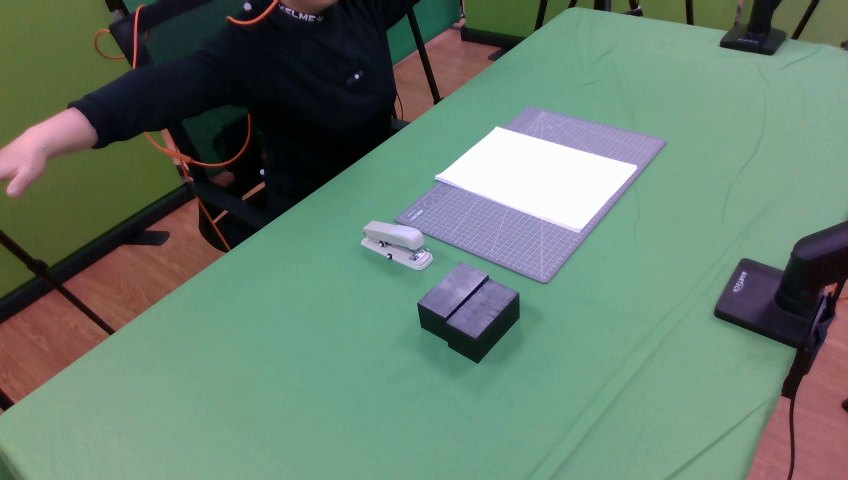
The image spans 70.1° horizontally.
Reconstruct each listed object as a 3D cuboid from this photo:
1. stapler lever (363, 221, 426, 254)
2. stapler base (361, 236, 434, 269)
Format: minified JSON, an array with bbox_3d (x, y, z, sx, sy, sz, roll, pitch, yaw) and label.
[{"bbox_3d":[-0.048,-0.011,0.958,0.117,0.040,0.027,21,46,32],"label":"stapler lever"},{"bbox_3d":[-0.044,0.009,0.974,0.129,0.024,0.041,21,46,32],"label":"stapler base"}]
